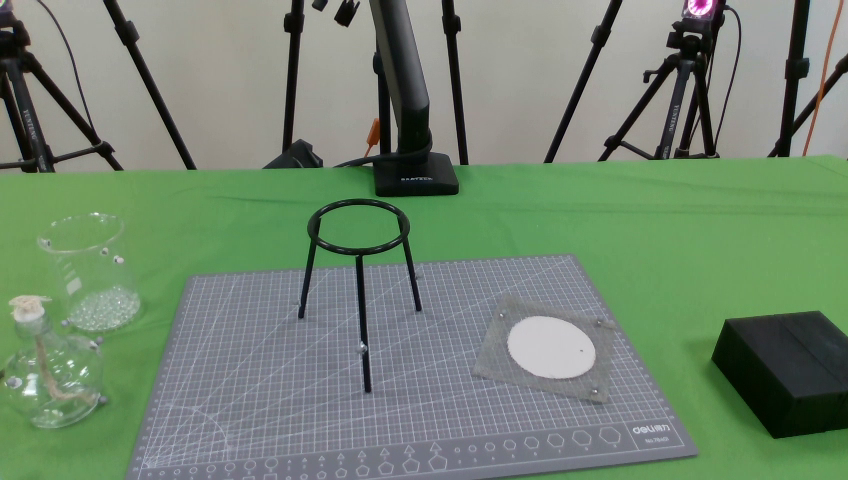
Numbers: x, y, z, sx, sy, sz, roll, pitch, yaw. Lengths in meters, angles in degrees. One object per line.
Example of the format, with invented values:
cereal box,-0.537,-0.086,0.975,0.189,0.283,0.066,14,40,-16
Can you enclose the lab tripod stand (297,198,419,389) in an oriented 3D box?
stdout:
lab tripod stand,-0.058,0.041,0.560,0.148,0.132,0.147,3,33,-2

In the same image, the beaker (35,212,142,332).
beaker,-0.322,0.032,0.594,0.074,0.101,0.083,4,32,2

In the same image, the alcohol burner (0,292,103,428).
alcohol burner,-0.304,0.092,0.486,0.078,0.120,0.077,3,30,-1

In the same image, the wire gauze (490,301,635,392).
wire gauze,0.127,0.095,0.576,0.125,0.011,0.120,7,30,-5
